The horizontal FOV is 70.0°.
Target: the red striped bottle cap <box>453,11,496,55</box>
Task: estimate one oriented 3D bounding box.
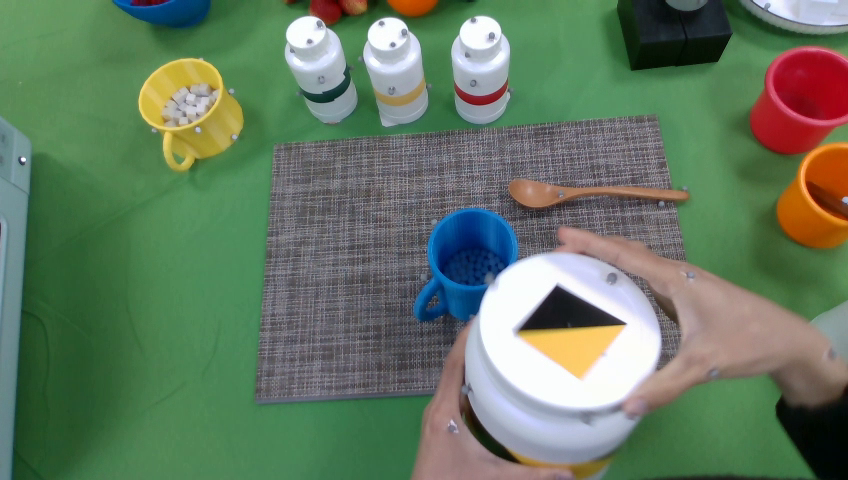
[{"bbox_3d":[0.052,-0.213,0.622,0.044,0.018,0.044,0,67,1],"label":"red striped bottle cap"}]

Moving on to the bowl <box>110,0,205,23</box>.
[{"bbox_3d":[-0.337,-0.339,0.787,0.151,0.077,0.150,-2,68,4],"label":"bowl"}]

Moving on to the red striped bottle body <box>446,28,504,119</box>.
[{"bbox_3d":[0.057,-0.193,0.671,0.063,0.120,0.062,-2,67,5],"label":"red striped bottle body"}]

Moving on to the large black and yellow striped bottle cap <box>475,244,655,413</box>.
[{"bbox_3d":[0.090,0.054,0.392,0.115,0.019,0.114,-2,56,3],"label":"large black and yellow striped bottle cap"}]

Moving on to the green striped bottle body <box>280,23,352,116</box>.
[{"bbox_3d":[-0.124,-0.200,0.690,0.063,0.120,0.062,-2,68,4],"label":"green striped bottle body"}]

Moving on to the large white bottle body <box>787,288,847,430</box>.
[{"bbox_3d":[0.403,0.087,0.493,0.130,0.186,0.129,-2,68,5],"label":"large white bottle body"}]

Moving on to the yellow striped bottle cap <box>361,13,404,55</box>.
[{"bbox_3d":[-0.043,-0.215,0.632,0.044,0.019,0.044,0,65,1],"label":"yellow striped bottle cap"}]

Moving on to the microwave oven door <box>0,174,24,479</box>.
[{"bbox_3d":[-0.459,0.060,0.534,0.039,0.245,0.353,-13,68,1],"label":"microwave oven door"}]

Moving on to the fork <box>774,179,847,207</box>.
[{"bbox_3d":[0.422,-0.030,0.557,0.028,0.019,0.205,-31,24,-15],"label":"fork"}]

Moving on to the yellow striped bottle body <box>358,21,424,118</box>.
[{"bbox_3d":[-0.037,-0.196,0.681,0.063,0.121,0.062,-2,67,5],"label":"yellow striped bottle body"}]

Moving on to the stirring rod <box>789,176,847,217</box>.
[{"bbox_3d":[0.393,-0.030,0.568,0.014,0.006,0.175,-1,25,2],"label":"stirring rod"}]

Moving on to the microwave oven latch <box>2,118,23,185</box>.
[{"bbox_3d":[-0.492,-0.101,0.709,0.030,0.030,0.078,-11,69,1],"label":"microwave oven latch"}]

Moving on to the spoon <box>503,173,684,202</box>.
[{"bbox_3d":[0.183,-0.057,0.654,0.193,0.022,0.041,0,47,5],"label":"spoon"}]

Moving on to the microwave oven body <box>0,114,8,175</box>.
[{"bbox_3d":[-0.610,0.055,0.555,0.326,0.262,0.438,-13,69,0],"label":"microwave oven body"}]

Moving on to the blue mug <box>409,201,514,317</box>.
[{"bbox_3d":[0.032,0.032,0.589,0.116,0.106,0.082,-39,69,-10],"label":"blue mug"}]

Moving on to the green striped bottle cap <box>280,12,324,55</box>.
[{"bbox_3d":[-0.130,-0.220,0.642,0.044,0.020,0.044,-1,67,4],"label":"green striped bottle cap"}]

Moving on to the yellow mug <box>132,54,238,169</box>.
[{"bbox_3d":[-0.283,-0.146,0.713,0.100,0.064,0.130,5,70,7],"label":"yellow mug"}]

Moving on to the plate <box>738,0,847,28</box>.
[{"bbox_3d":[0.460,-0.338,0.735,0.209,0.038,0.207,-2,69,5],"label":"plate"}]

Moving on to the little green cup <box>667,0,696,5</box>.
[{"bbox_3d":[0.293,-0.298,0.680,0.061,0.039,0.061,-1,67,3],"label":"little green cup"}]

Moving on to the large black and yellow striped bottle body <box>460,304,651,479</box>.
[{"bbox_3d":[0.093,0.104,0.460,0.131,0.185,0.129,-1,54,2],"label":"large black and yellow striped bottle body"}]
